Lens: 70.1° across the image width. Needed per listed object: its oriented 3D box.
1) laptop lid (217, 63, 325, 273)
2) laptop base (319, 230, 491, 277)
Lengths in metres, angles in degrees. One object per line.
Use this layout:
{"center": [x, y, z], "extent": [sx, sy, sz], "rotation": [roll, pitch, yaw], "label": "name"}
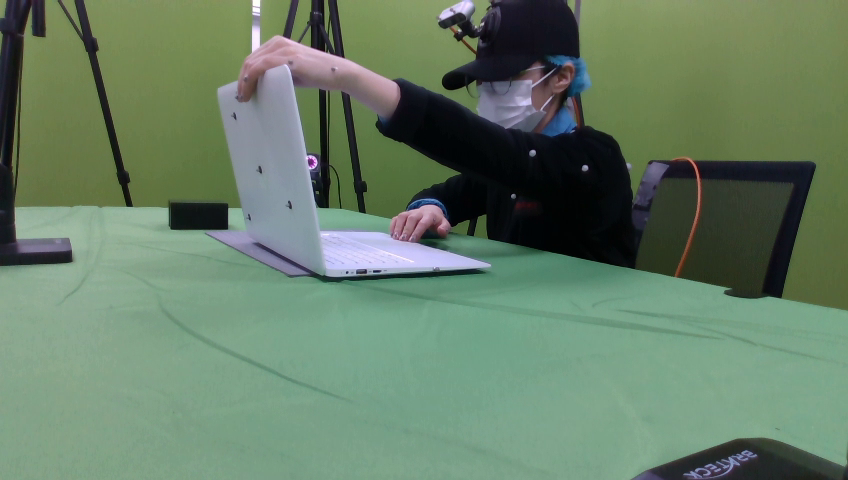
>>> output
{"center": [-0.215, -0.096, 0.801], "extent": [0.013, 0.241, 0.355], "rotation": [-16, 17, -27], "label": "laptop lid"}
{"center": [-0.095, 0.016, 0.888], "extent": [0.237, 0.023, 0.352], "rotation": [2, 7, -30], "label": "laptop base"}
